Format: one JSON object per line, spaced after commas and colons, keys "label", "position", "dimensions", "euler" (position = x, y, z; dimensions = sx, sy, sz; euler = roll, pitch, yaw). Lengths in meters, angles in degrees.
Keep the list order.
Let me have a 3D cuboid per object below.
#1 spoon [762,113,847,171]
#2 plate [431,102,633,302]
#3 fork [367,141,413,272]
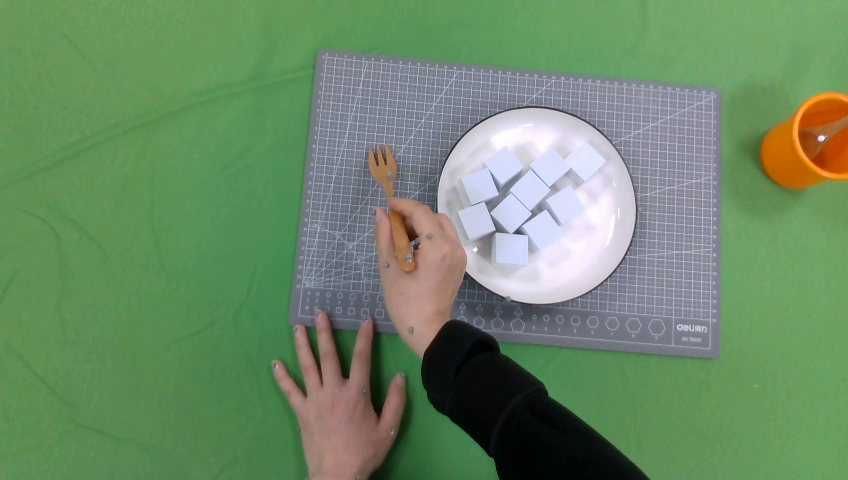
{"label": "spoon", "position": [0.441, -0.130, 0.611], "dimensions": [0.022, 0.194, 0.041], "euler": [-14, 74, -49]}
{"label": "plate", "position": [0.110, -0.038, 0.631], "dimensions": [0.208, 0.039, 0.207], "euler": [1, 82, -3]}
{"label": "fork", "position": [-0.032, -0.039, 0.572], "dimensions": [0.028, 0.205, 0.019], "euler": [-10, 127, -5]}
